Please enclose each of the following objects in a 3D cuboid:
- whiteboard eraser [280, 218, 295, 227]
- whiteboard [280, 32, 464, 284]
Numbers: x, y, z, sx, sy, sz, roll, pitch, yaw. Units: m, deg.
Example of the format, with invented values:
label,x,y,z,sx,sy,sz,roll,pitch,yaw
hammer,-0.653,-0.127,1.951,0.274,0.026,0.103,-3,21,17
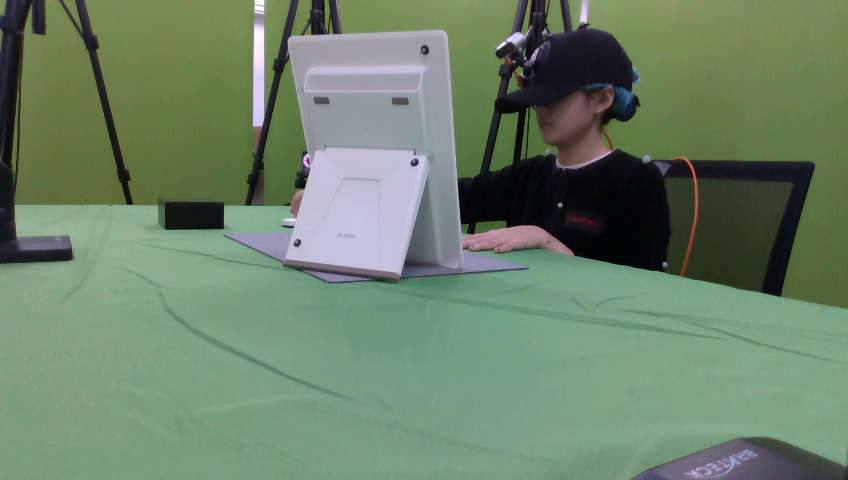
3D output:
label,x,y,z,sx,sy,sz,roll,pitch,yaw
whiteboard eraser,-0.242,-0.036,1.229,0.102,0.019,0.041,-1,7,-35
whiteboard,-0.087,-0.080,0.728,0.216,0.305,0.144,7,28,24
